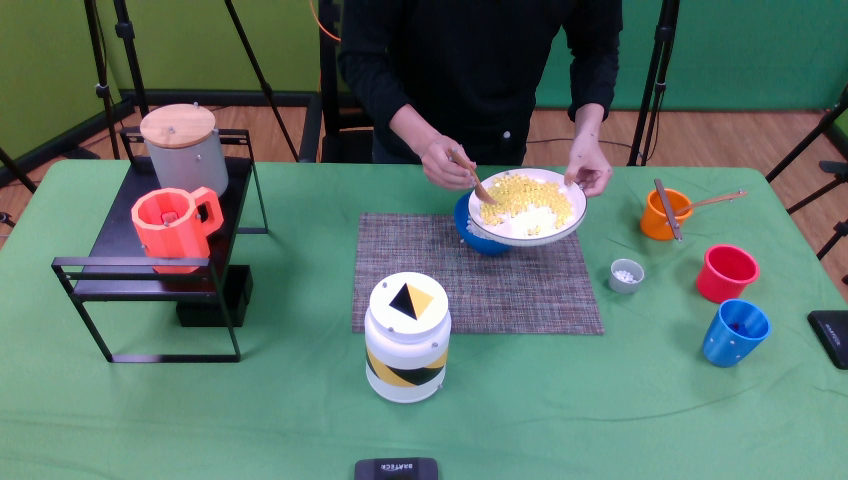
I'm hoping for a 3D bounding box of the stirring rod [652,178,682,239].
[{"bbox_3d":[0.481,-0.065,1.204,0.014,0.006,0.175,2,46,-1],"label":"stirring rod"}]

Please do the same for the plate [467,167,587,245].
[{"bbox_3d":[0.181,-0.057,1.070,0.209,0.038,0.208,-5,40,4],"label":"plate"}]

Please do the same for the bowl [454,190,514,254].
[{"bbox_3d":[0.130,-0.026,1.186,0.151,0.077,0.150,2,45,-1],"label":"bowl"}]

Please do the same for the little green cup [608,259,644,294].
[{"bbox_3d":[0.379,0.070,1.147,0.061,0.039,0.061,3,45,-3],"label":"little green cup"}]

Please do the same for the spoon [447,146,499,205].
[{"bbox_3d":[0.078,-0.102,0.983,0.041,0.195,0.021,24,76,34],"label":"spoon"}]

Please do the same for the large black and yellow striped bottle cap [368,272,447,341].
[{"bbox_3d":[-0.023,0.093,0.875,0.115,0.019,0.114,3,46,-3],"label":"large black and yellow striped bottle cap"}]

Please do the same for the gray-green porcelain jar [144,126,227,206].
[{"bbox_3d":[-0.375,-0.126,0.967,0.106,0.127,0.105,2,46,-2],"label":"gray-green porcelain jar"}]

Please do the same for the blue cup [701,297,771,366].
[{"bbox_3d":[0.519,0.162,1.025,0.093,0.101,0.092,3,45,-3],"label":"blue cup"}]

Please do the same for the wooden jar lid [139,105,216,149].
[{"bbox_3d":[-0.372,-0.169,0.920,0.108,0.021,0.107,4,44,-4],"label":"wooden jar lid"}]

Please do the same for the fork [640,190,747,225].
[{"bbox_3d":[0.533,-0.065,1.211,0.207,0.019,0.028,-22,28,38],"label":"fork"}]

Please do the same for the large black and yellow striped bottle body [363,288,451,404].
[{"bbox_3d":[-0.027,0.153,0.935,0.131,0.185,0.130,2,46,-2],"label":"large black and yellow striped bottle body"}]

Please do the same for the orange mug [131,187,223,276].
[{"bbox_3d":[-0.354,-0.022,0.888,0.083,0.101,0.126,31,55,24],"label":"orange mug"}]
